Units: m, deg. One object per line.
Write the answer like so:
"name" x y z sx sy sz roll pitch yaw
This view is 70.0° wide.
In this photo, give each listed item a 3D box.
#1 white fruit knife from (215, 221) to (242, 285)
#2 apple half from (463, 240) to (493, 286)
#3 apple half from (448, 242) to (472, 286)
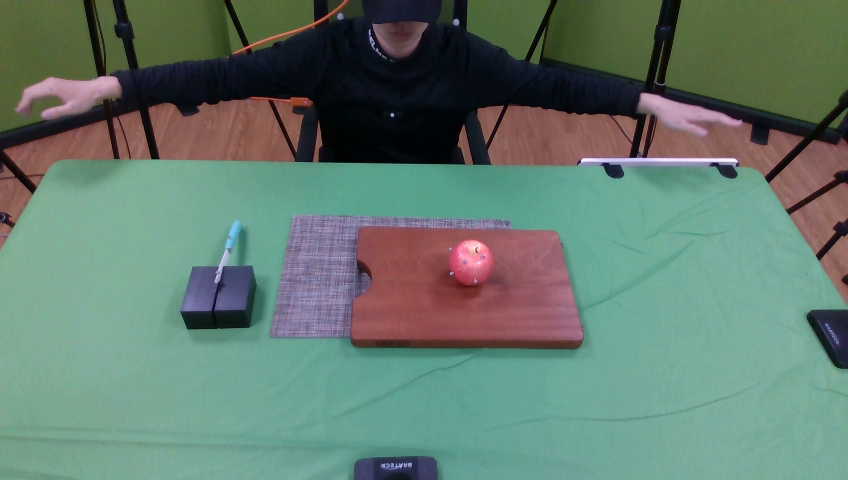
"white fruit knife" -0.360 0.019 1.114 0.016 0.027 0.206 -1 32 -5
"apple half" 0.097 0.042 1.093 0.053 0.075 0.080 -3 42 -13
"apple half" 0.059 0.046 1.085 0.033 0.081 0.080 -4 46 -13
